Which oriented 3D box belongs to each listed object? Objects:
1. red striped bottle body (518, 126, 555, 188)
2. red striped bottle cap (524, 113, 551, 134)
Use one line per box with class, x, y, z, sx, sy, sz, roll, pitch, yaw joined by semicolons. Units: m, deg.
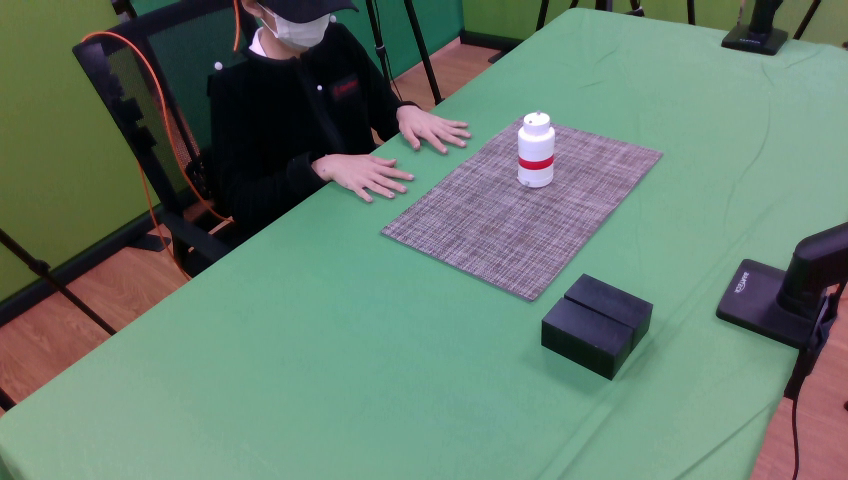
red striped bottle body;0.195;-0.156;1.046;0.063;0.120;0.062;-5;39;4
red striped bottle cap;0.190;-0.196;1.013;0.044;0.018;0.044;-7;39;6
